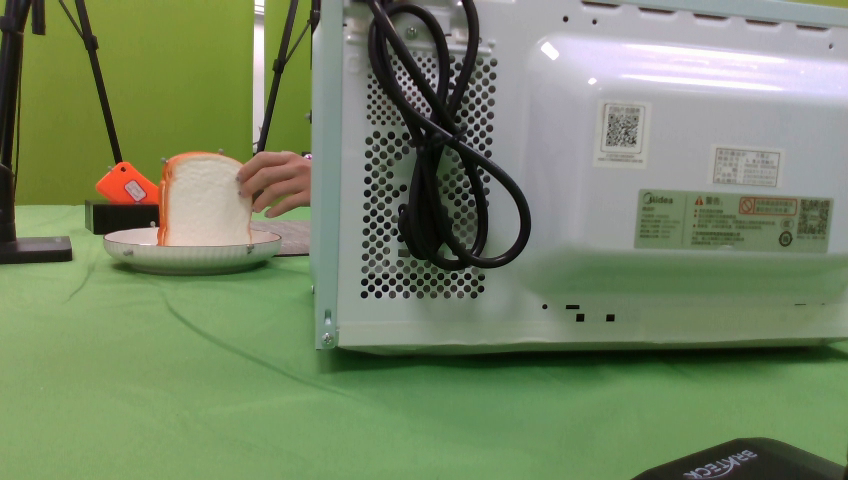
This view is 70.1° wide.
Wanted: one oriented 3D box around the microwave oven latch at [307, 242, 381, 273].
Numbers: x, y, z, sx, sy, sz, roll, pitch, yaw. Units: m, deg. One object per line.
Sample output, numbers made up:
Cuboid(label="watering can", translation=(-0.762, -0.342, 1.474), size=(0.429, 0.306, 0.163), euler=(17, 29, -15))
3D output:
Cuboid(label="microwave oven latch", translation=(-0.086, 0.019, 0.656), size=(0.079, 0.029, 0.030), euler=(2, 7, -10))

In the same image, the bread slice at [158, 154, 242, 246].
Cuboid(label="bread slice", translation=(-0.288, -0.045, 0.788), size=(0.107, 0.134, 0.018), euler=(2, 8, -35))

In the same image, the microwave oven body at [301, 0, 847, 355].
Cuboid(label="microwave oven body", translation=(0.120, -0.053, 0.535), size=(0.443, 0.260, 0.325), euler=(2, 7, -11))

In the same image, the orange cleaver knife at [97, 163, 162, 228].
Cuboid(label="orange cleaver knife", translation=(-0.472, -0.062, 1.087), size=(0.212, 0.077, 0.012), euler=(33, -14, -36))

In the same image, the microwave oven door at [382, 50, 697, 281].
Cuboid(label="microwave oven door", translation=(0.135, -0.077, 0.685), size=(0.357, 0.243, 0.039), euler=(1, 8, -12))

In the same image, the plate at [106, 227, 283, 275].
Cuboid(label="plate", translation=(-0.288, 0.013, 0.772), size=(0.208, 0.039, 0.207), euler=(2, 7, 0))
